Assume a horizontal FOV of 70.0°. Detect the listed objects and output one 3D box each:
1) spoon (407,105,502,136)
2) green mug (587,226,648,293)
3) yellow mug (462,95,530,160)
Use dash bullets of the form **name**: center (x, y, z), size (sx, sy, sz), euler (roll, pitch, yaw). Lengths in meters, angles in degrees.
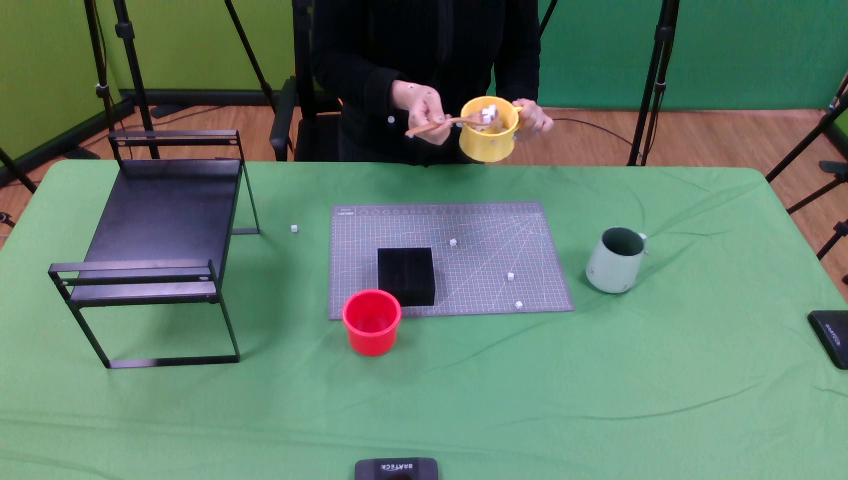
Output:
- **spoon**: center (0.052, -0.198, 1.002), size (0.194, 0.022, 0.041), euler (-17, 51, -34)
- **green mug**: center (0.372, 0.030, 1.136), size (0.125, 0.105, 0.092), euler (-27, 53, -26)
- **yellow mug**: center (0.132, -0.204, 1.073), size (0.131, 0.064, 0.099), euler (-23, 57, -17)
